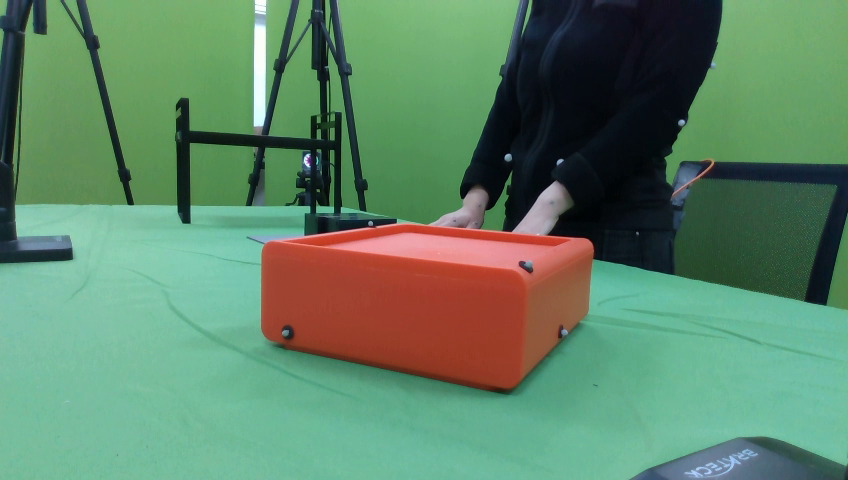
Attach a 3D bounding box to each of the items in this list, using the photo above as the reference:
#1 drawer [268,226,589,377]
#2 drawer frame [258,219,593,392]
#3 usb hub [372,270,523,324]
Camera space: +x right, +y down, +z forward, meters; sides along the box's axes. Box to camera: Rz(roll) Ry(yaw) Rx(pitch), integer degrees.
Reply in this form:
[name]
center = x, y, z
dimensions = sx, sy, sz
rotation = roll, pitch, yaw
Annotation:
[drawer]
center = 0.015, 0.037, 0.493
dimensions = 0.194, 0.073, 0.212
rotation = 7, 8, 25
[drawer frame]
center = 0.015, 0.036, 0.492
dimensions = 0.201, 0.082, 0.214
rotation = 6, 9, 24
[usb hub]
center = 0.020, 0.048, 0.527
dimensions = 0.124, 0.025, 0.050
rotation = 8, 7, 25
